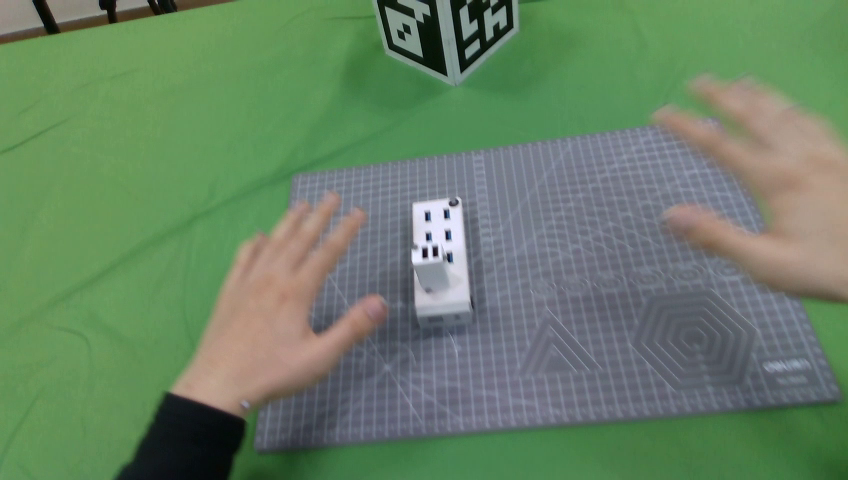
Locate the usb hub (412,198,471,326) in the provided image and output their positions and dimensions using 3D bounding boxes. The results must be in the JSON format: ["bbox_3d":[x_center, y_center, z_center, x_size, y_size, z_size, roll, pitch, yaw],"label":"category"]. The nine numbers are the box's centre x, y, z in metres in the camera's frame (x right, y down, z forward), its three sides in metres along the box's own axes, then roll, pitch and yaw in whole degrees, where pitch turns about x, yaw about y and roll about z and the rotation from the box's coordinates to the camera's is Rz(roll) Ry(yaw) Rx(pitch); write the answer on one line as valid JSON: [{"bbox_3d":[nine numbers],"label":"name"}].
[{"bbox_3d":[0.015,0.017,0.555,0.049,0.025,0.124,-6,54,6],"label":"usb hub"}]

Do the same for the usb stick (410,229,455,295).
[{"bbox_3d":[0.006,0.017,0.503,0.027,0.060,0.021,-28,46,-13],"label":"usb stick"}]
